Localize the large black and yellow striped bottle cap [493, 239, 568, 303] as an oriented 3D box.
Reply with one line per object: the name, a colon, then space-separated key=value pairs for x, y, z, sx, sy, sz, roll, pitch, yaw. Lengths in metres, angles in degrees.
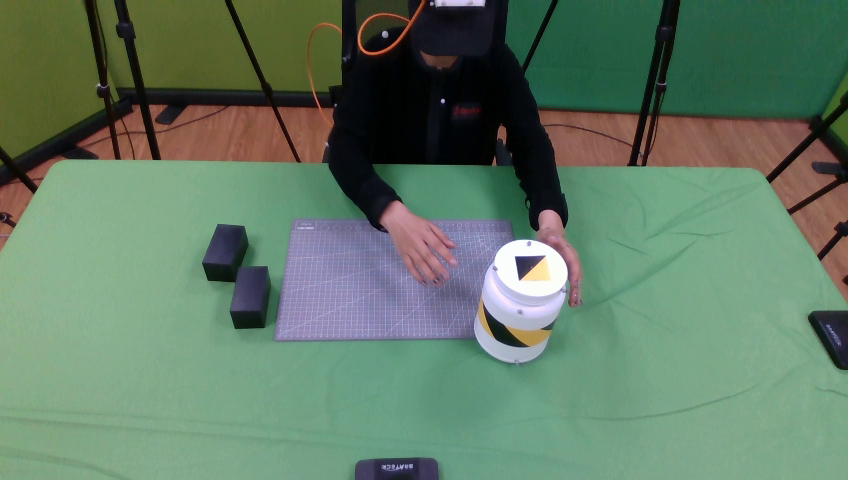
large black and yellow striped bottle cap: x=0.163 y=0.045 z=0.932 sx=0.115 sy=0.019 sz=0.114 roll=3 pitch=49 yaw=-3

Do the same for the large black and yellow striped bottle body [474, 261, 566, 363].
large black and yellow striped bottle body: x=0.157 y=0.103 z=0.993 sx=0.131 sy=0.185 sz=0.130 roll=3 pitch=48 yaw=-3
